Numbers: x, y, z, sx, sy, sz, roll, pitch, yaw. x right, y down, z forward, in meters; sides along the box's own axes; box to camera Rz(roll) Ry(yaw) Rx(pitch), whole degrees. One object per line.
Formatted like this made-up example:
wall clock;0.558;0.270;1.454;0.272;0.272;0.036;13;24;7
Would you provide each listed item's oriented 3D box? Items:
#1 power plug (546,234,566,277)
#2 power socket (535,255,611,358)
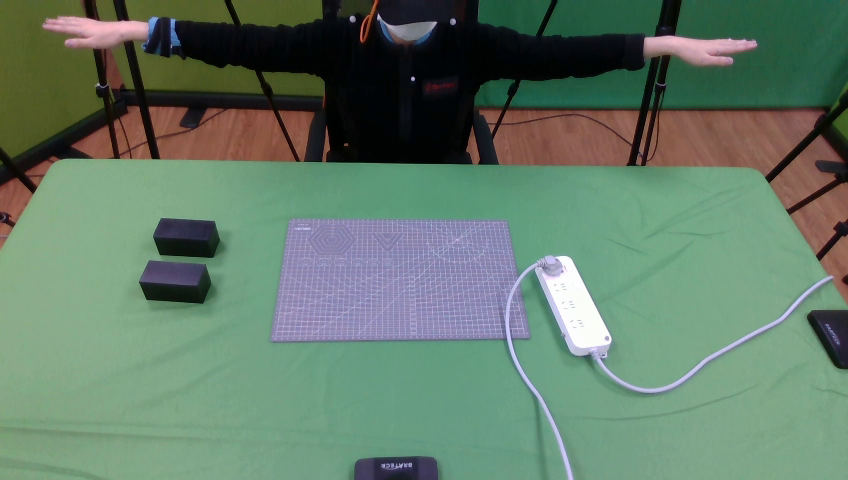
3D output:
power plug;0.241;0.031;1.107;0.035;0.073;0.052;-1;30;11
power socket;0.266;0.114;1.098;0.072;0.033;0.225;-7;47;-9
